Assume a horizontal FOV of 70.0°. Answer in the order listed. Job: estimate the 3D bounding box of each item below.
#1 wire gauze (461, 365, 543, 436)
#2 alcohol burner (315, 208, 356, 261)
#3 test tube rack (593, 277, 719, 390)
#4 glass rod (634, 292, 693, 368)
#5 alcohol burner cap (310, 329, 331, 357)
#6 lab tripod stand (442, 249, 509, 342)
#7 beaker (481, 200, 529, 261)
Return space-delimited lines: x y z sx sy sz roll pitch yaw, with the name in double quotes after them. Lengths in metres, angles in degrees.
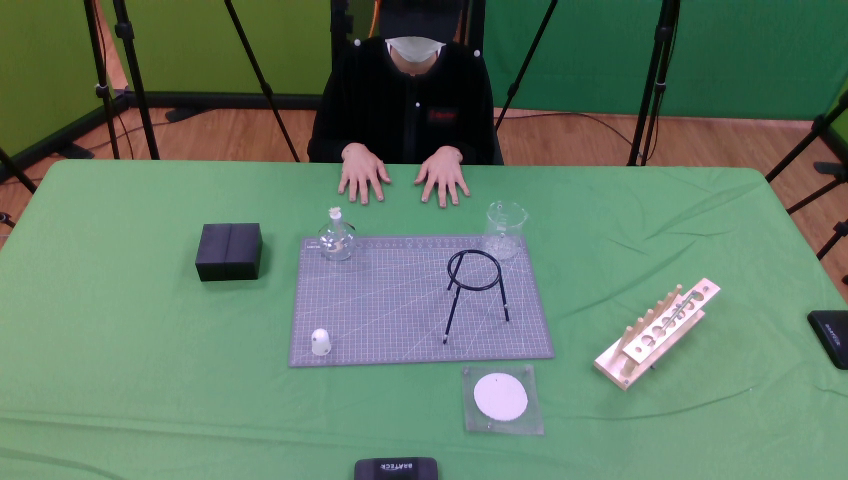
0.124 0.254 0.974 0.125 0.011 0.120 3 47 -3 "wire gauze"
-0.166 -0.017 1.134 0.078 0.119 0.077 2 48 -2 "alcohol burner"
0.401 0.148 1.043 0.242 0.085 0.066 -30 55 -29 "test tube rack"
0.370 0.146 0.951 0.008 0.200 0.008 8 45 -8 "glass rod"
-0.173 0.168 1.005 0.034 0.048 0.033 2 46 -2 "alcohol burner cap"
0.082 0.090 1.036 0.148 0.132 0.147 3 44 -3 "lab tripod stand"
0.153 -0.016 1.169 0.084 0.101 0.073 -2 46 -7 "beaker"
